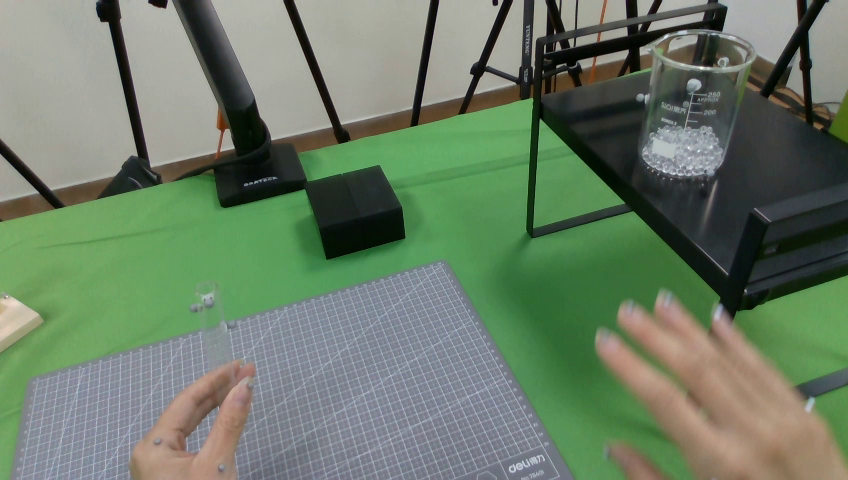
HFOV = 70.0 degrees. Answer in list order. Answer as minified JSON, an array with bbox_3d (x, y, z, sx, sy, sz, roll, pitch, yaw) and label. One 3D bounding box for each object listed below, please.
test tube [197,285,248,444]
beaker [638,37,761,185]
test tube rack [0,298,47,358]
[{"bbox_3d":[-0.145,0.096,0.441,0.017,0.151,0.017,2,33,-1],"label":"test tube"},{"bbox_3d":[0.215,-0.103,0.493,0.083,0.101,0.074,20,45,28],"label":"beaker"},{"bbox_3d":[-0.516,0.120,0.588,0.066,0.086,0.241,20,45,27],"label":"test tube rack"}]
